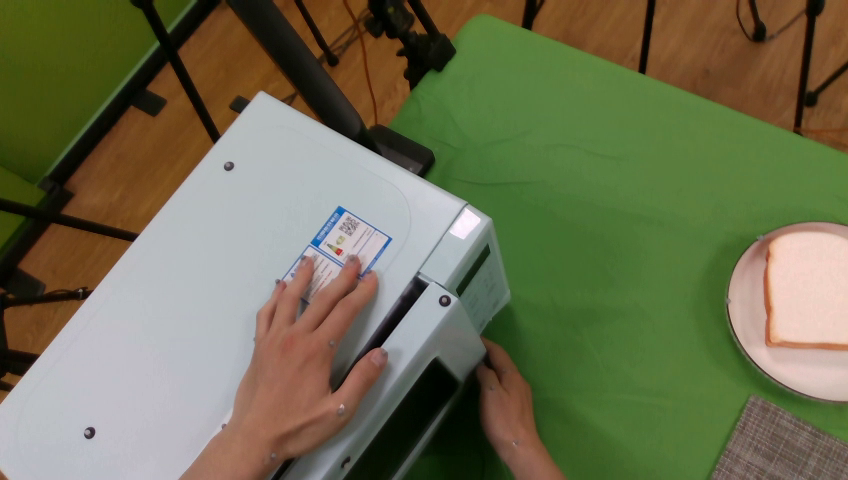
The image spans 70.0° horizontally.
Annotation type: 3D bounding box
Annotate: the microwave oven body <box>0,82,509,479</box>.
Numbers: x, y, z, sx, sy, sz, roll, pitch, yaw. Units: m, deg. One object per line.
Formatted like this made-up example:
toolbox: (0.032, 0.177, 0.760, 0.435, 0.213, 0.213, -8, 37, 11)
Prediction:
microwave oven body: (-0.164, 0.113, 0.666, 0.324, 0.262, 0.441, 31, 79, 21)

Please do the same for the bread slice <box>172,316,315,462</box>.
bread slice: (-0.185, 0.148, 0.649, 0.106, 0.018, 0.134, 40, 74, 13)

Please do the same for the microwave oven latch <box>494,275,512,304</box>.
microwave oven latch: (0.072, 0.070, 0.737, 0.079, 0.030, 0.030, -42, 67, -5)

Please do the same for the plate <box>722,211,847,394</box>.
plate: (0.443, 0.069, 0.677, 0.207, 0.039, 0.206, -4, 68, 11)

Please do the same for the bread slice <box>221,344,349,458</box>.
bread slice: (-0.168, 0.193, 0.716, 0.132, 0.019, 0.104, -26, 65, -26)

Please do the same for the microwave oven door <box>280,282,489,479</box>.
microwave oven door: (-0.066, 0.218, 0.598, 0.039, 0.246, 0.355, 34, 79, 22)

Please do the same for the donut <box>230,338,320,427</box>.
donut: (-0.164, 0.158, 0.674, 0.099, 0.048, 0.098, 0, 65, 0)

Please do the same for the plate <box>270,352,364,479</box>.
plate: (-0.167, 0.168, 0.696, 0.209, 0.038, 0.208, -3, 72, 9)
